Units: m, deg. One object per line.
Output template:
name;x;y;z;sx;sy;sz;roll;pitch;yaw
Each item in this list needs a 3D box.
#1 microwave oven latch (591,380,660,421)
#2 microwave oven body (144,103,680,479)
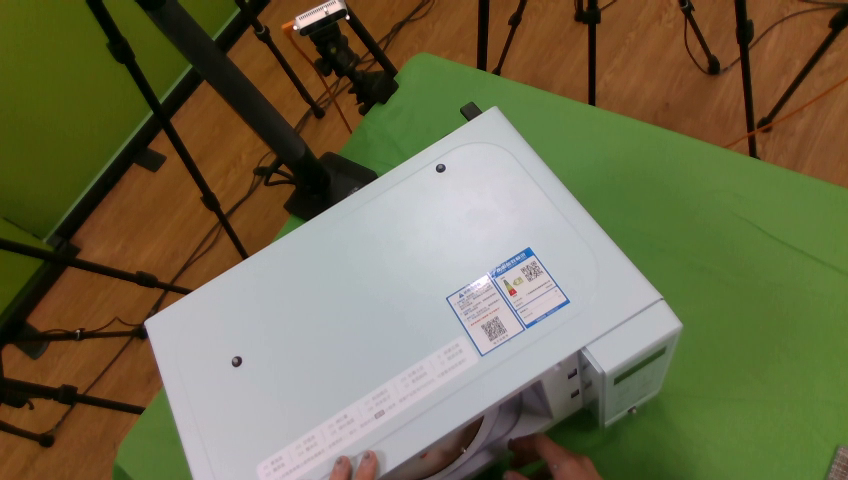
microwave oven latch;0.230;0.174;0.692;0.079;0.030;0.030;-31;60;-1
microwave oven body;-0.014;0.119;0.676;0.442;0.263;0.322;-32;60;-2
